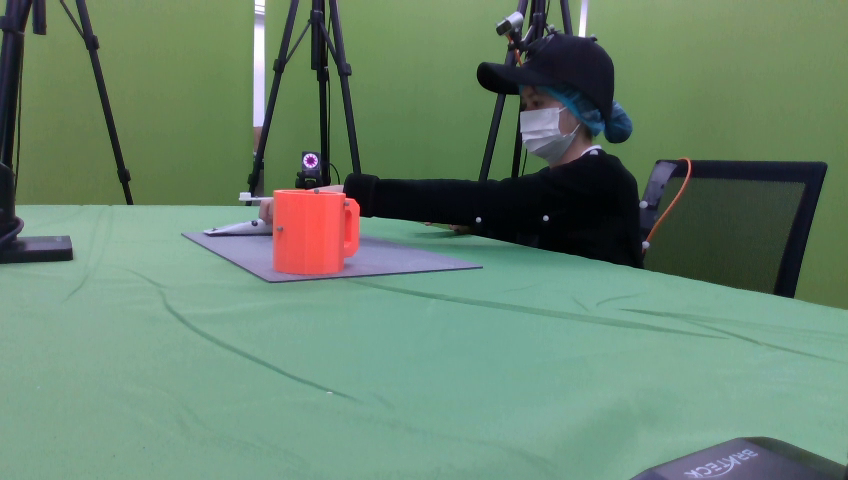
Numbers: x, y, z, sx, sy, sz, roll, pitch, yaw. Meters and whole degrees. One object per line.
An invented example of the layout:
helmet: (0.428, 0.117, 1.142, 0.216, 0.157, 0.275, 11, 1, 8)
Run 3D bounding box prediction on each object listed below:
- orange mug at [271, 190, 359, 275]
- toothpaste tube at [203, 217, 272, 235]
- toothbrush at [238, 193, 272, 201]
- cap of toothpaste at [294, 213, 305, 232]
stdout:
orange mug: (-0.131, -0.013, 0.754, 0.083, 0.101, 0.127, 8, 13, 38)
toothpaste tube: (-0.294, -0.023, 1.055, 0.166, 0.034, 0.055, -6, 3, -31)
toothbrush: (-0.286, -0.087, 1.236, 0.183, 0.016, 0.014, -1, 4, -30)
cap of toothpaste: (-0.225, -0.031, 1.093, 0.011, 0.037, 0.037, -6, 11, -31)
